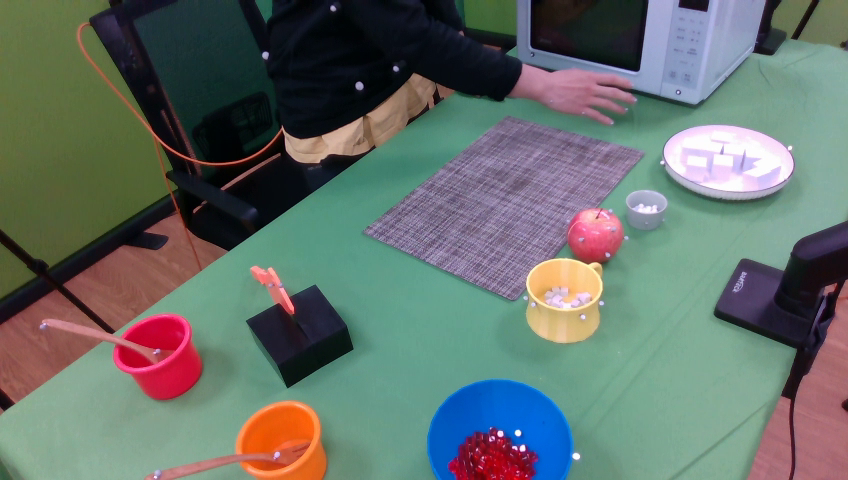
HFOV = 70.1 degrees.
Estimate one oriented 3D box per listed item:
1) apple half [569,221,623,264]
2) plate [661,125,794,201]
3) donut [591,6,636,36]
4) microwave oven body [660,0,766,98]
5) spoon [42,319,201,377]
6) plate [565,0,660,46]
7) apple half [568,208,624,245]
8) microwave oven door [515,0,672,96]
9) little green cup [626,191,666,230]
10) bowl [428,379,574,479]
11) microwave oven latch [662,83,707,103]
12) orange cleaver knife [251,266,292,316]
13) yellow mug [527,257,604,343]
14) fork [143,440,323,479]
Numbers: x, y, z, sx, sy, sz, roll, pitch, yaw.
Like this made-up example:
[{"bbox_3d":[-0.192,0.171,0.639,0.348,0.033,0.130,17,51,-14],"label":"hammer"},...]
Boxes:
[{"bbox_3d":[0.251,0.010,0.884,0.081,0.081,0.032,3,37,12],"label":"apple half"},{"bbox_3d":[0.513,-0.128,1.035,0.207,0.039,0.206,-4,40,4],"label":"plate"},{"bbox_3d":[0.427,-0.497,1.364,0.099,0.048,0.098,-5,38,5],"label":"donut"},{"bbox_3d":[0.472,-0.513,1.317,0.438,0.261,0.327,26,51,34],"label":"microwave oven body"},{"bbox_3d":[-0.385,0.135,0.779,0.195,0.021,0.041,29,37,-26],"label":"spoon"},{"bbox_3d":[0.427,-0.489,1.377,0.209,0.038,0.208,-4,40,4],"label":"plate"},{"bbox_3d":[0.259,-0.014,0.914,0.080,0.075,0.053,0,36,15],"label":"apple half"},{"bbox_3d":[0.344,-0.455,1.259,0.353,0.245,0.039,26,51,33],"label":"microwave oven door"},{"bbox_3d":[0.352,-0.046,0.963,0.061,0.039,0.061,-4,40,4],"label":"little green cup"},{"bbox_3d":[0.082,0.233,0.644,0.151,0.077,0.150,-4,39,4],"label":"bowl"},{"bbox_3d":[0.517,-0.296,1.204,0.078,0.029,0.030,27,52,35],"label":"microwave oven latch"},{"bbox_3d":[-0.221,0.071,0.873,0.012,0.077,0.210,-25,11,-21],"label":"orange cleaver knife"},{"bbox_3d":[0.201,0.072,0.825,0.131,0.064,0.099,-32,46,-27],"label":"yellow mug"},{"bbox_3d":[-0.190,0.231,0.631,0.028,0.018,0.209,38,14,37],"label":"fork"}]
